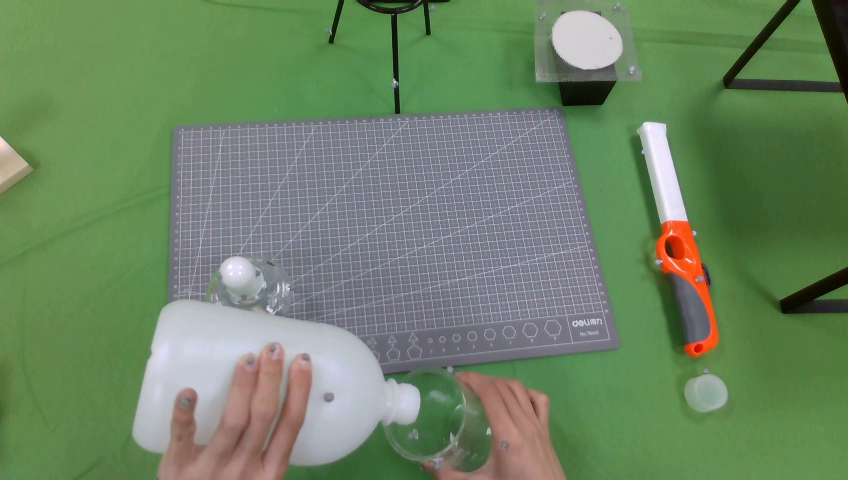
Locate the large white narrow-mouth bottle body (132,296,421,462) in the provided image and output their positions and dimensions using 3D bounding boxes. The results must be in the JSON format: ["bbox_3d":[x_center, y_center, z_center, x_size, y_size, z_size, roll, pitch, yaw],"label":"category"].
[{"bbox_3d":[-0.095,0.106,0.438,0.196,0.102,0.101,14,65,-21],"label":"large white narrow-mouth bottle body"}]

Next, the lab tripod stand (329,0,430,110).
[{"bbox_3d":[-0.040,-0.243,0.678,0.149,0.132,0.147,3,68,-7],"label":"lab tripod stand"}]

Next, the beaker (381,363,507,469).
[{"bbox_3d":[0.021,0.156,0.521,0.084,0.101,0.073,-13,59,25],"label":"beaker"}]

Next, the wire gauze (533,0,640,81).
[{"bbox_3d":[0.188,-0.237,0.714,0.121,0.011,0.124,3,67,-5],"label":"wire gauze"}]

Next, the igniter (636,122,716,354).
[{"bbox_3d":[0.278,-0.010,0.674,0.057,0.025,0.274,3,67,-16],"label":"igniter"}]

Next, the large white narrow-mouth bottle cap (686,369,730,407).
[{"bbox_3d":[0.287,0.150,0.614,0.038,0.024,0.037,2,67,-5],"label":"large white narrow-mouth bottle cap"}]

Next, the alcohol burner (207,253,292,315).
[{"bbox_3d":[-0.162,0.043,0.557,0.078,0.120,0.077,3,66,-7],"label":"alcohol burner"}]

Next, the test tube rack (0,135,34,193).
[{"bbox_3d":[-0.513,-0.033,0.568,0.066,0.085,0.242,41,70,11],"label":"test tube rack"}]

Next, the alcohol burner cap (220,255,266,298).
[{"bbox_3d":[-0.159,0.030,0.523,0.034,0.048,0.033,1,72,-2],"label":"alcohol burner cap"}]
